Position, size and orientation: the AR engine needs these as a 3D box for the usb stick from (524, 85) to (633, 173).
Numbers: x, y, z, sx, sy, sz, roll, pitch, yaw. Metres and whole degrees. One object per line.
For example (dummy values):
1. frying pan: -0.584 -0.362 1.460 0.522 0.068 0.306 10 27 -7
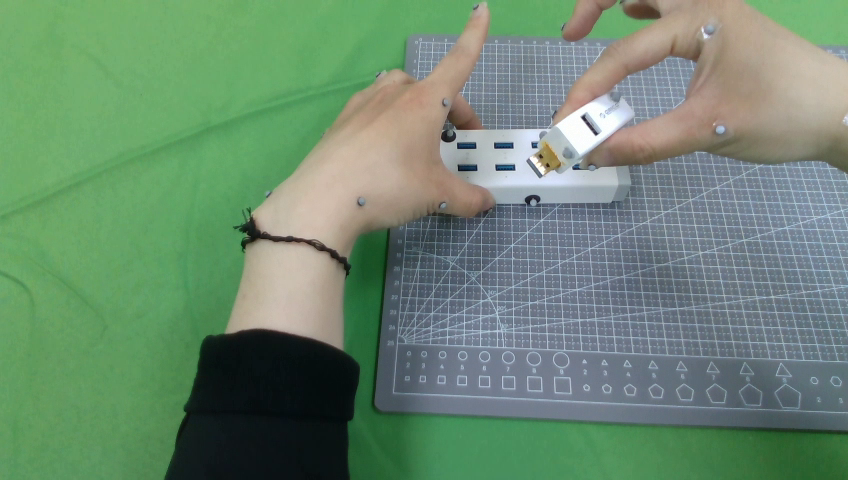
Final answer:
1. usb stick: 0.079 -0.056 0.316 0.059 0.027 0.021 -34 85 -20

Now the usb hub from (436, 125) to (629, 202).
1. usb hub: 0.071 -0.052 0.409 0.125 0.025 0.049 1 62 0
